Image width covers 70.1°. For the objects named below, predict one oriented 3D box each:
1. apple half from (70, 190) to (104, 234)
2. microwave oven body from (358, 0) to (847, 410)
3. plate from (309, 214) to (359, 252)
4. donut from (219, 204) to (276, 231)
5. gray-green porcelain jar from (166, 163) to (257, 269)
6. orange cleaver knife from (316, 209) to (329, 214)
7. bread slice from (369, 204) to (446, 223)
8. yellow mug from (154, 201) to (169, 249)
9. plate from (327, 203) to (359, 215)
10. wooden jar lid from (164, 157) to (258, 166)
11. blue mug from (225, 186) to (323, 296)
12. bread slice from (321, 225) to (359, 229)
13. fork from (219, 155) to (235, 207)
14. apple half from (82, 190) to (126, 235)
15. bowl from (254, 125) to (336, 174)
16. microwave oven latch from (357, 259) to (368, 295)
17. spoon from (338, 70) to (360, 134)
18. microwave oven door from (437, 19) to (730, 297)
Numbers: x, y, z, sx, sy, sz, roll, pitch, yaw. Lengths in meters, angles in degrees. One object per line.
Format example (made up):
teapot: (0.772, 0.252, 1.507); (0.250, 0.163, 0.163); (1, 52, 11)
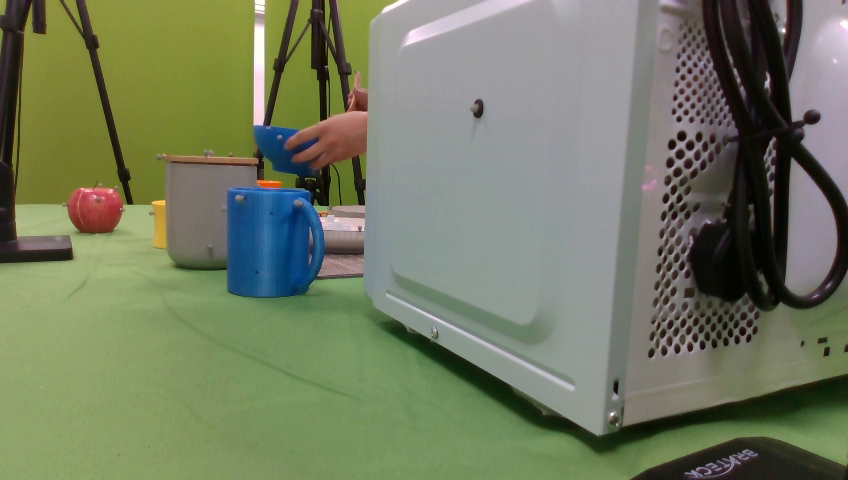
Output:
apple half: (-0.552, -0.047, 1.010); (0.053, 0.074, 0.081); (0, 9, 26)
microwave oven body: (0.210, -0.051, 0.471); (0.444, 0.260, 0.324); (-1, 7, -28)
plate: (-0.130, -0.011, 0.945); (0.208, 0.039, 0.207); (2, 8, 0)
donut: (-0.316, -0.038, 1.083); (0.099, 0.048, 0.099); (3, 7, 0)
gray-green porcelain jar: (-0.263, -0.031, 0.754); (0.106, 0.126, 0.106); (2, 7, 0)
orange cleaver knife: (-0.259, -0.064, 1.423); (0.212, 0.012, 0.077); (-4, 3, -30)
bread slice: (-0.039, -0.049, 1.140); (0.107, 0.018, 0.133); (-7, -1, -39)
yellow mug: (-0.337, -0.022, 0.899); (0.130, 0.064, 0.100); (8, 9, 35)
plate: (-0.102, -0.053, 1.299); (0.209, 0.038, 0.209); (2, 8, 0)
wooden jar lid: (-0.261, -0.093, 0.746); (0.108, 0.020, 0.108); (1, 9, 0)
blue mug: (-0.148, 0.000, 0.618); (0.116, 0.106, 0.083); (7, 9, 33)
bread slice: (-0.124, -0.009, 0.938); (0.131, 0.019, 0.105); (5, 8, 32)
fork: (-0.459, -0.134, 1.415); (0.028, 0.018, 0.207); (-1, -34, -25)
apple half: (-0.516, -0.046, 0.994); (0.032, 0.081, 0.081); (0, 6, 26)
bowl: (-0.244, -0.167, 1.131); (0.151, 0.077, 0.151); (7, 11, -1)
microwave oven latch: (-0.019, 0.031, 0.529); (0.079, 0.029, 0.030); (-1, 7, -26)
spoon: (-0.150, -0.293, 1.274); (0.042, 0.193, 0.021); (30, -39, -30)
microwave oven door: (0.180, -0.076, 0.618); (0.358, 0.243, 0.039); (-2, 9, -28)
